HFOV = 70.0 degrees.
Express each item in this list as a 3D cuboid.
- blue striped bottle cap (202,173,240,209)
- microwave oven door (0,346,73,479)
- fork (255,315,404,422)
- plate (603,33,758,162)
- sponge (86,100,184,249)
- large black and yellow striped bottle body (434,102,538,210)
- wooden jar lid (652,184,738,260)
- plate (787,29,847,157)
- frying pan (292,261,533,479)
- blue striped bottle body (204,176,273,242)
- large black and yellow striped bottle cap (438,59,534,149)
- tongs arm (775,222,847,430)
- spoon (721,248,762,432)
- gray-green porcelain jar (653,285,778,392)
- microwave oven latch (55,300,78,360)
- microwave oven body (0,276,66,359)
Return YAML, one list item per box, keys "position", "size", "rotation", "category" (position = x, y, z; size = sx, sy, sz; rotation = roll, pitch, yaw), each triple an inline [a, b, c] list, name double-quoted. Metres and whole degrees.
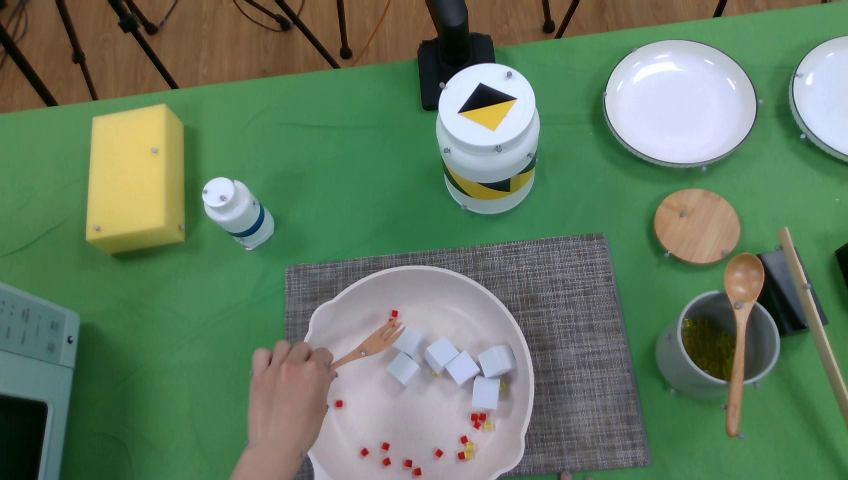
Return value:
- position: [-0.265, -0.065, 0.790]
  size: [0.044, 0.021, 0.044]
  rotation: [-2, 71, 6]
  category: "blue striped bottle cap"
- position: [-0.497, 0.292, 0.657]
  size: [0.039, 0.245, 0.353]
  rotation: [-6, 69, 5]
  category: "microwave oven door"
- position: [-0.106, 0.148, 0.708]
  size: [0.207, 0.019, 0.028]
  rotation: [-30, 61, -32]
  category: "fork"
- position: [0.361, -0.200, 0.868]
  size: [0.207, 0.039, 0.206]
  rotation: [-2, 70, 6]
  category: "plate"
- position: [-0.431, -0.099, 0.909]
  size: [0.118, 0.061, 0.205]
  rotation: [-11, 70, 2]
  category: "sponge"
- position: [0.082, -0.132, 0.797]
  size: [0.130, 0.185, 0.130]
  rotation: [-2, 69, 6]
  category: "large black and yellow striped bottle body"
- position: [0.361, -0.023, 0.812]
  size: [0.108, 0.021, 0.107]
  rotation: [-2, 71, 6]
  category: "wooden jar lid"
- position: [0.610, -0.197, 0.836]
  size: [0.209, 0.038, 0.207]
  rotation: [-2, 70, 6]
  category: "plate"
- position: [-0.076, 0.248, 0.715]
  size: [0.305, 0.103, 0.487]
  rotation: [34, 69, 18]
  category: "frying pan"
- position: [-0.259, -0.046, 0.838]
  size: [0.063, 0.122, 0.062]
  rotation: [-2, 69, 6]
  category: "blue striped bottle body"
- position: [0.074, -0.163, 0.719]
  size: [0.115, 0.019, 0.114]
  rotation: [-2, 71, 6]
  category: "large black and yellow striped bottle cap"
- position: [0.485, 0.159, 0.684]
  size: [0.051, 0.026, 0.383]
  rotation: [-13, 81, -2]
  category: "tongs arm"
- position: [0.328, 0.103, 0.637]
  size: [0.041, 0.022, 0.193]
  rotation: [11, 75, 7]
  category: "spoon"
- position: [0.330, 0.120, 0.706]
  size: [0.106, 0.127, 0.105]
  rotation: [-2, 69, 6]
  category: "gray-green porcelain jar"
- position: [-0.497, 0.123, 0.828]
  size: [0.030, 0.030, 0.078]
  rotation: [-3, 70, 5]
  category: "microwave oven latch"
- position: [-0.643, 0.269, 0.688]
  size: [0.326, 0.262, 0.438]
  rotation: [-6, 70, 4]
  category: "microwave oven body"
